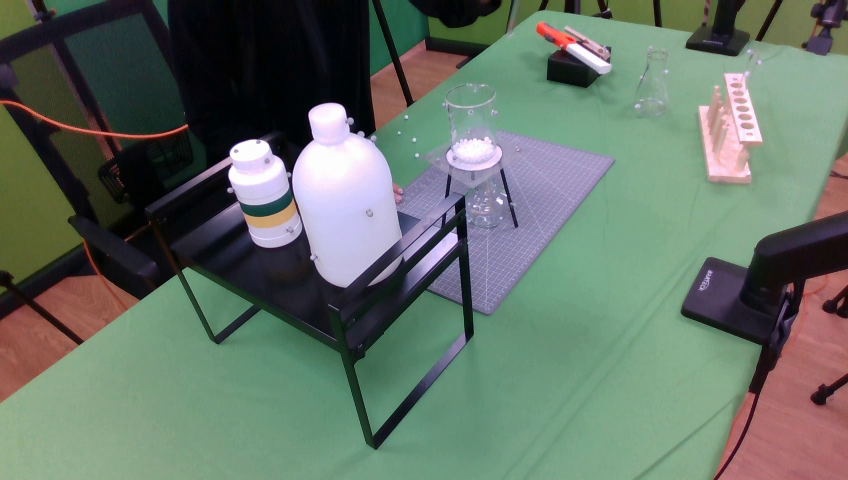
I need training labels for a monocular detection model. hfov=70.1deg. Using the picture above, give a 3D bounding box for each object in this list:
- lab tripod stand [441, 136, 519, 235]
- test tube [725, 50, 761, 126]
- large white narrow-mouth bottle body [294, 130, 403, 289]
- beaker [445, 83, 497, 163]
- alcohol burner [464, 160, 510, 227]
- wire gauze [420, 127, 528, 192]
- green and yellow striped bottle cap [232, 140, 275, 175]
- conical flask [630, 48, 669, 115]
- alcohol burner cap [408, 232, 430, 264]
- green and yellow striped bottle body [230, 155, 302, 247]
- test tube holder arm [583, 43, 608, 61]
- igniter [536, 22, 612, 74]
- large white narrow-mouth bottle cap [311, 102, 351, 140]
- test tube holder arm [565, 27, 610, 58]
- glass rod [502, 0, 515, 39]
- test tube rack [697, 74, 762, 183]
[{"bbox_3d":[0.083,-0.086,0.976,0.148,0.132,0.147,-4,42,4],"label":"lab tripod stand"},{"bbox_3d":[0.570,-0.269,1.086,0.017,0.151,0.017,-1,45,1],"label":"test tube"},{"bbox_3d":[-0.082,-0.047,0.634,0.102,0.195,0.101,-4,39,4],"label":"large white narrow-mouth bottle body"},{"bbox_3d":[0.073,-0.175,0.904,0.074,0.101,0.084,3,42,13],"label":"beaker"},{"bbox_3d":[0.102,-0.081,0.982,0.078,0.119,0.077,-4,43,4],"label":"alcohol burner"},{"bbox_3d":[0.076,-0.131,0.927,0.122,0.011,0.124,-34,49,-25],"label":"wire gauze"},{"bbox_3d":[-0.192,-0.093,0.680,0.045,0.020,0.045,-5,39,5],"label":"green and yellow striped bottle cap"},{"bbox_3d":[0.456,-0.317,1.205,0.075,0.122,0.075,-4,41,4],"label":"conical flask"},{"bbox_3d":[-0.009,0.010,0.947,0.034,0.048,0.033,-4,41,4],"label":"alcohol burner cap"},{"bbox_3d":[-0.188,-0.055,0.714,0.063,0.120,0.063,-4,41,4],"label":"green and yellow striped bottle body"},{"bbox_3d":[0.379,-0.420,1.341,0.010,0.015,0.087,-39,41,10],"label":"test tube holder arm"},{"bbox_3d":[0.330,-0.438,1.366,0.057,0.025,0.274,-11,41,-19],"label":"igniter"},{"bbox_3d":[-0.089,-0.114,0.579,0.038,0.024,0.037,-4,39,3],"label":"large white narrow-mouth bottle cap"},{"bbox_3d":[0.369,-0.450,1.373,0.013,0.015,0.177,-39,41,10],"label":"test tube holder arm"},{"bbox_3d":[0.133,-0.374,0.824,0.008,0.200,0.008,9,32,-5],"label":"glass rod"},{"bbox_3d":[0.547,-0.208,1.095,0.066,0.085,0.242,5,42,15],"label":"test tube rack"}]
